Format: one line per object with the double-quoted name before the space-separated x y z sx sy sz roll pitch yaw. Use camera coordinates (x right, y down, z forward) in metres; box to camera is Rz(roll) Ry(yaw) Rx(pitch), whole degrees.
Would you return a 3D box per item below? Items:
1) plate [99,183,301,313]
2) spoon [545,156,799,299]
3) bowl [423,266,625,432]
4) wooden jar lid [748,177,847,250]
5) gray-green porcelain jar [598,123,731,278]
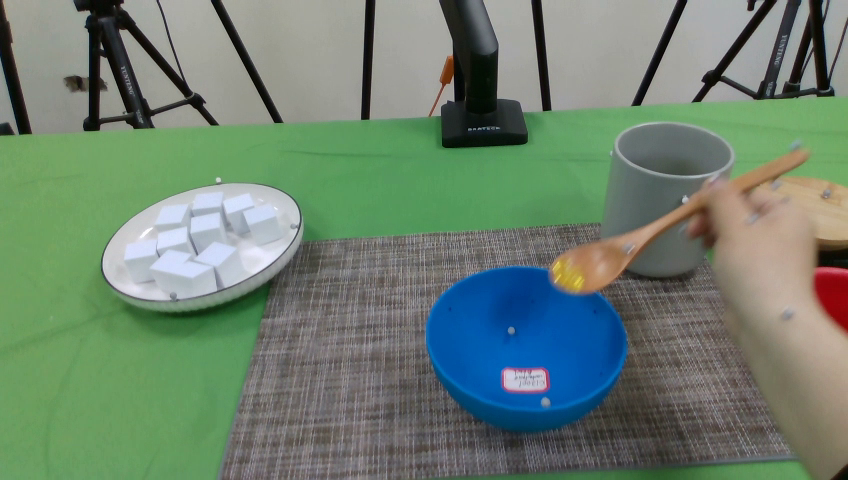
"plate" -0.235 0.008 0.655 0.209 0.038 0.207 -3 38 3
"spoon" 0.176 -0.010 0.432 0.194 0.022 0.041 -31 42 9
"bowl" 0.076 0.097 0.479 0.151 0.077 0.150 -2 38 2
"wooden jar lid" 0.371 -0.025 0.585 0.108 0.021 0.107 -3 38 3
"gray-green porcelain jar" 0.230 -0.035 0.597 0.106 0.127 0.105 -2 38 2
